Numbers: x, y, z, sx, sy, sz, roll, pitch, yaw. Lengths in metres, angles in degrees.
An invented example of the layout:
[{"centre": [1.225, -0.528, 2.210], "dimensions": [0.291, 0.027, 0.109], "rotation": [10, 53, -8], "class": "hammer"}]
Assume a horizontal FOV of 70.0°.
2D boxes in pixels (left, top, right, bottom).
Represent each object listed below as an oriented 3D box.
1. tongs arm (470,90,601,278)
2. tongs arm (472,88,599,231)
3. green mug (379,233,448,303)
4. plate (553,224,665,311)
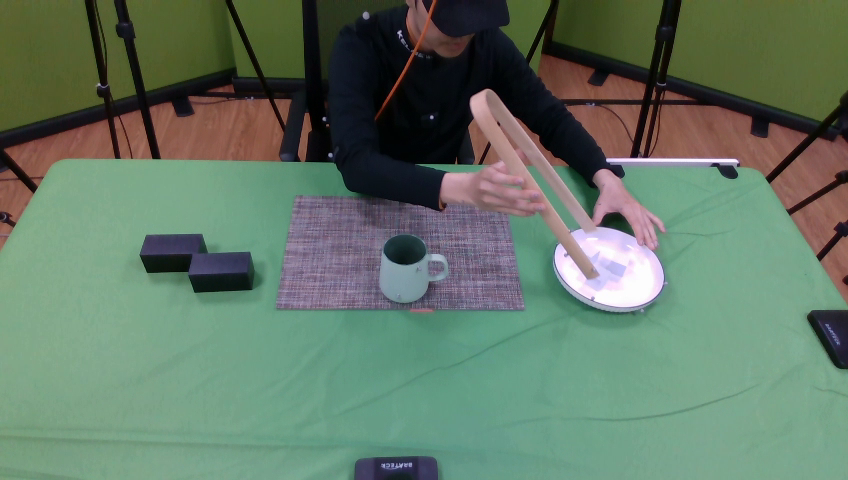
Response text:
[{"centre": [0.187, -0.075, 0.967], "dimensions": [0.026, 0.387, 0.050], "rotation": [-20, 38, 34], "class": "tongs arm"}, {"centre": [0.198, -0.121, 1.009], "dimensions": [0.028, 0.390, 0.028], "rotation": [-17, 47, 36], "class": "tongs arm"}, {"centre": [-0.018, 0.050, 1.084], "dimensions": [0.125, 0.105, 0.092], "rotation": [0, 46, -4], "class": "green mug"}, {"centre": [0.349, 0.055, 1.159], "dimensions": [0.209, 0.038, 0.208], "rotation": [2, 47, -2], "class": "plate"}]
